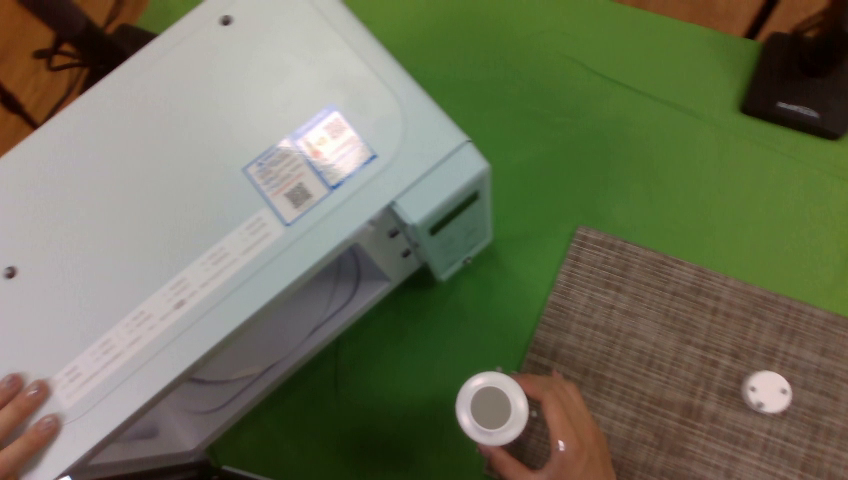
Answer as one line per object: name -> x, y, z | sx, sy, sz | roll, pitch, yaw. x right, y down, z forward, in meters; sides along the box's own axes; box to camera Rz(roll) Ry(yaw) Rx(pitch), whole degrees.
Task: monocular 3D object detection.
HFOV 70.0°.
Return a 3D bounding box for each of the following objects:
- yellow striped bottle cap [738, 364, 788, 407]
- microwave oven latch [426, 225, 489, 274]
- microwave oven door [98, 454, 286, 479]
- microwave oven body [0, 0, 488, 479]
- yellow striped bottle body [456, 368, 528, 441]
yellow striped bottle cap -> 0.359, 0.154, 0.642 | 0.044, 0.019, 0.044 | -2, 75, 8
microwave oven latch -> 0.038, 0.004, 0.692 | 0.079, 0.029, 0.030 | -39, 75, -3
microwave oven door -> -0.108, 0.263, 0.538 | 0.355, 0.245, 0.039 | 11, 77, 9
microwave oven body -> -0.203, -0.011, 0.624 | 0.441, 0.261, 0.324 | -41, 75, -4
yellow striped bottle body -> 0.063, 0.151, 0.555 | 0.063, 0.121, 0.062 | -2, 74, 7
